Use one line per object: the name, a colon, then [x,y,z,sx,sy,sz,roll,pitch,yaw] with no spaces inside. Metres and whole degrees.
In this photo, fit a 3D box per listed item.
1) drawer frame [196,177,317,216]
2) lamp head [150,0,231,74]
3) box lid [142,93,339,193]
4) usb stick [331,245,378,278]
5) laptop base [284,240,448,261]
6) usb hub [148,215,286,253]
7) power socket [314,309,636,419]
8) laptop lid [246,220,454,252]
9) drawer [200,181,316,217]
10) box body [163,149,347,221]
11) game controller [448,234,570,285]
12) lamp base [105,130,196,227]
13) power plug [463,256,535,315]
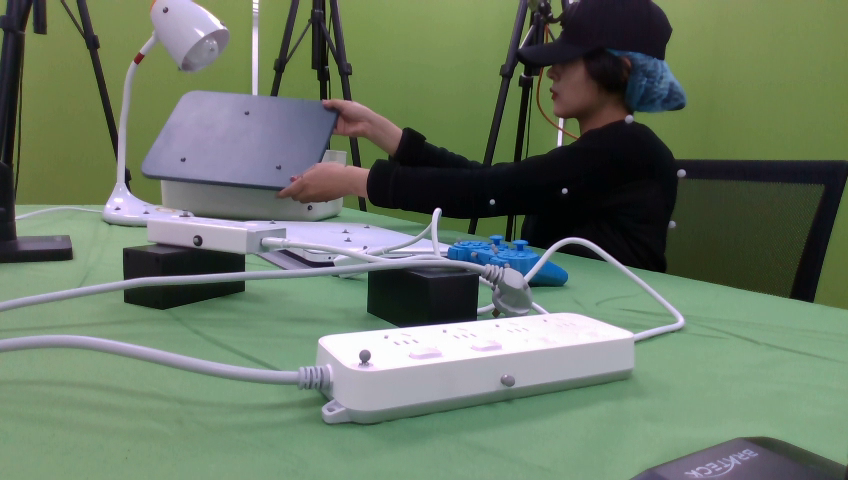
drawer frame: [-0.375,-0.102,1.392,0.213,0.082,0.202,1,7,6]
lamp head: [-0.432,-0.375,1.086,0.123,0.112,0.112,42,8,-2]
box lid: [-0.381,-0.212,1.281,0.371,0.263,0.015,5,-36,8]
usb stick: [-0.085,0.026,0.701,0.059,0.027,0.021,-18,17,26]
laptop base: [-0.125,0.002,0.945,0.237,0.023,0.352,2,6,-31]
usb hub: [-0.197,-0.006,0.575,0.125,0.025,0.050,6,7,22]
power socket: [0.039,0.072,0.385,0.228,0.032,0.072,-2,7,-28]
laptop lid: [-0.123,-0.009,0.945,0.243,0.013,0.355,1,7,-29]
drawer: [-0.373,-0.097,1.392,0.212,0.073,0.194,1,9,6]
box body: [-0.384,-0.137,1.406,0.364,0.160,0.254,3,8,7]
game controller: [0.099,0.021,0.756,0.097,0.051,0.154,-6,10,-29]
lamp base: [-0.532,-0.120,1.153,0.179,0.180,0.161,1,7,8]
power plug: [0.064,0.039,0.530,0.072,0.052,0.035,31,43,7]
